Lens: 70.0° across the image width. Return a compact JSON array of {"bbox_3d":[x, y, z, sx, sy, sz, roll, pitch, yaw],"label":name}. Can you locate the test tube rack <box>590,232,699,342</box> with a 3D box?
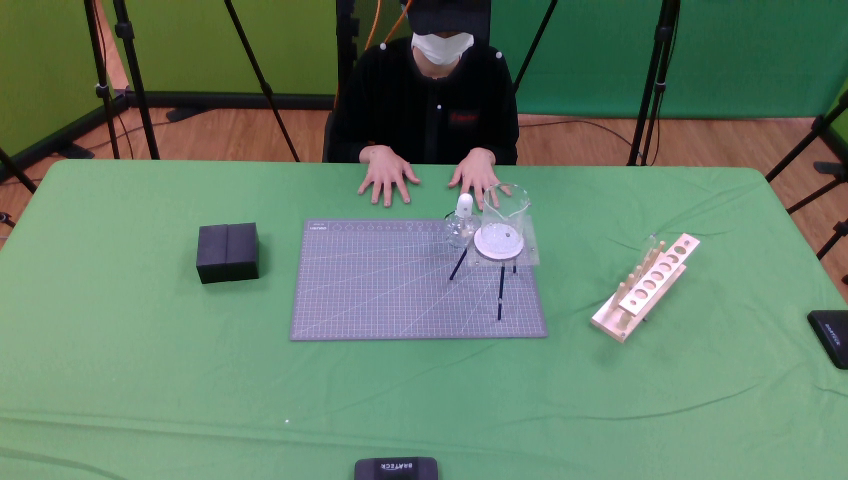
[{"bbox_3d":[0.407,0.074,1.112,0.066,0.085,0.242,35,53,26],"label":"test tube rack"}]

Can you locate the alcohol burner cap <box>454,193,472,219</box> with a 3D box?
[{"bbox_3d":[0.076,-0.068,1.151,0.034,0.048,0.033,3,46,-3],"label":"alcohol burner cap"}]

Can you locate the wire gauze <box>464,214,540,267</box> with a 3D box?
[{"bbox_3d":[0.131,-0.001,1.035,0.121,0.011,0.124,1,44,-3],"label":"wire gauze"}]

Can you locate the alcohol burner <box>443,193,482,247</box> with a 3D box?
[{"bbox_3d":[0.075,-0.044,1.177,0.078,0.120,0.077,1,44,-1],"label":"alcohol burner"}]

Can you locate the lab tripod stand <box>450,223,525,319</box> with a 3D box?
[{"bbox_3d":[0.120,0.046,1.080,0.148,0.132,0.147,1,47,-1],"label":"lab tripod stand"}]

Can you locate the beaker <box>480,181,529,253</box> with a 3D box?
[{"bbox_3d":[0.130,-0.033,0.998,0.074,0.101,0.083,5,47,4],"label":"beaker"}]

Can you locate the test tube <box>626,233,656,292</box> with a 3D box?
[{"bbox_3d":[0.384,0.042,1.079,0.017,0.151,0.017,1,47,-1],"label":"test tube"}]
